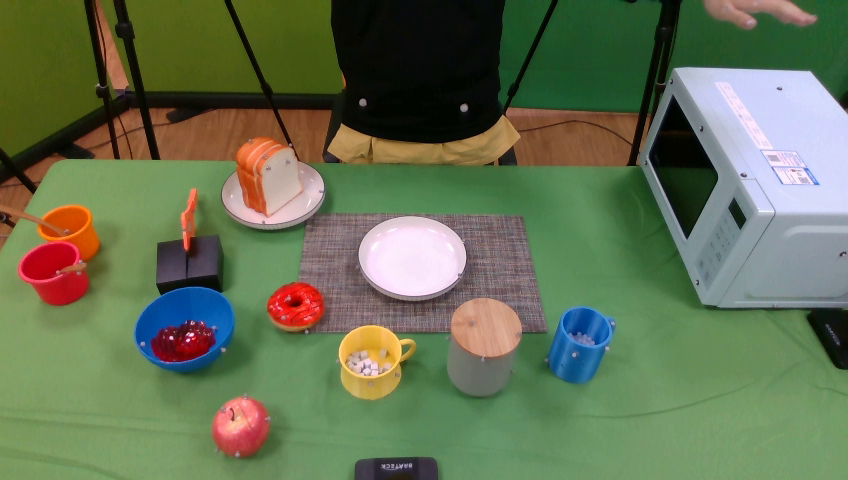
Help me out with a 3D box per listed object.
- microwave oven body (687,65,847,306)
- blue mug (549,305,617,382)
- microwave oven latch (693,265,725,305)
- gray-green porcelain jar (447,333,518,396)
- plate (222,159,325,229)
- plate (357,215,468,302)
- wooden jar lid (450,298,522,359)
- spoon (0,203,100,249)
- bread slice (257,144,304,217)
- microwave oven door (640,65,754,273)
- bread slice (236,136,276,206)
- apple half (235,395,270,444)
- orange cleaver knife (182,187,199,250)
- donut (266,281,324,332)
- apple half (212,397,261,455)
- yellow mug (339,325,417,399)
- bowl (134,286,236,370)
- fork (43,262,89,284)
[{"bbox_3d":[0.669,-0.111,1.176,0.326,0.261,0.439,0,46,-3],"label":"microwave oven body"},{"bbox_3d":[0.269,0.166,0.998,0.116,0.106,0.082,-19,51,-21],"label":"blue mug"},{"bbox_3d":[0.523,0.082,1.116,0.030,0.029,0.078,2,46,-1],"label":"microwave oven latch"},{"bbox_3d":[0.091,0.178,0.960,0.106,0.127,0.105,2,46,-2],"label":"gray-green porcelain jar"},{"bbox_3d":[-0.307,-0.095,1.251,0.209,0.038,0.208,2,47,-2],"label":"plate"},{"bbox_3d":[-0.022,0.037,1.141,0.208,0.039,0.206,2,46,-2],"label":"plate"},{"bbox_3d":[0.093,0.135,0.914,0.108,0.021,0.107,2,48,-3],"label":"wooden jar lid"},{"bbox_3d":[-0.683,-0.031,1.088,0.195,0.021,0.041,33,33,-38],"label":"spoon"},{"bbox_3d":[-0.290,-0.124,1.205,0.018,0.135,0.107,25,53,23],"label":"bread slice"},{"bbox_3d":[0.523,-0.147,1.193,0.039,0.245,0.353,0,47,-3],"label":"microwave oven door"},{"bbox_3d":[-0.331,-0.147,1.225,0.019,0.132,0.105,25,47,26],"label":"bread slice"},{"bbox_3d":[-0.245,0.259,0.893,0.033,0.082,0.081,-29,55,-22],"label":"apple half"},{"bbox_3d":[-0.445,-0.045,1.163,0.012,0.077,0.210,-5,23,-13],"label":"orange cleaver knife"},{"bbox_3d":[-0.222,0.114,1.049,0.099,0.048,0.098,2,45,-2],"label":"donut"},{"bbox_3d":[-0.276,0.276,0.877,0.053,0.075,0.080,-29,58,-21],"label":"apple half"},{"bbox_3d":[-0.072,0.190,0.978,0.131,0.064,0.099,-17,50,-20],"label":"yellow mug"},{"bbox_3d":[-0.377,0.156,0.981,0.151,0.077,0.150,2,46,-2],"label":"bowl"},{"bbox_3d":[-0.599,0.053,1.013,0.207,0.019,0.028,-14,30,45],"label":"fork"}]
